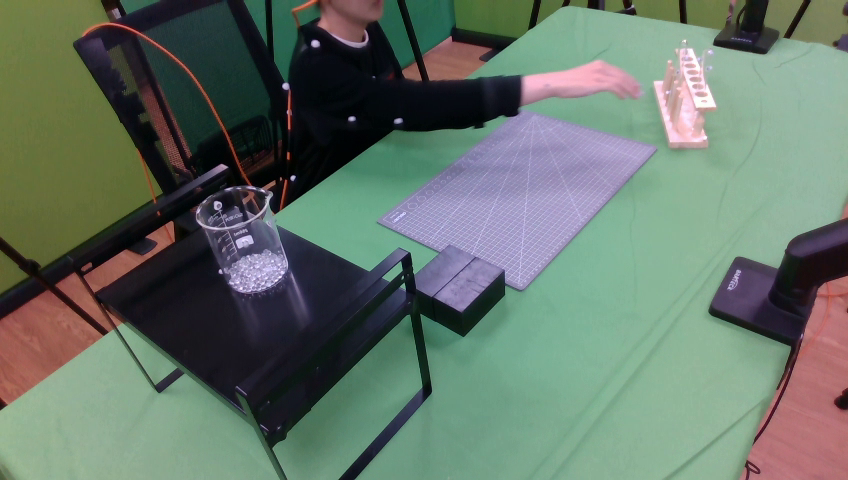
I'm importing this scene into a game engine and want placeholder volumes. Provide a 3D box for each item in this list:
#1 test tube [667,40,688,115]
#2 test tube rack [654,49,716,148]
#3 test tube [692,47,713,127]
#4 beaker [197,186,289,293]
[{"bbox_3d":[0.477,-0.303,1.138,0.017,0.151,0.017,-5,42,5],"label":"test tube"},{"bbox_3d":[0.502,-0.281,1.176,0.066,0.085,0.241,1,41,11],"label":"test tube rack"},{"bbox_3d":[0.501,-0.272,1.091,0.017,0.151,0.017,-5,37,4],"label":"test tube"},{"bbox_3d":[-0.192,0.001,0.666,0.084,0.101,0.073,-33,47,-27],"label":"beaker"}]
